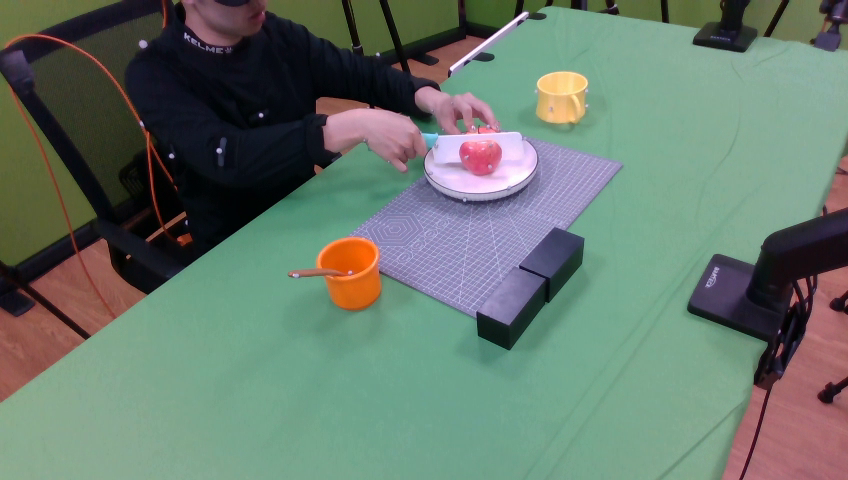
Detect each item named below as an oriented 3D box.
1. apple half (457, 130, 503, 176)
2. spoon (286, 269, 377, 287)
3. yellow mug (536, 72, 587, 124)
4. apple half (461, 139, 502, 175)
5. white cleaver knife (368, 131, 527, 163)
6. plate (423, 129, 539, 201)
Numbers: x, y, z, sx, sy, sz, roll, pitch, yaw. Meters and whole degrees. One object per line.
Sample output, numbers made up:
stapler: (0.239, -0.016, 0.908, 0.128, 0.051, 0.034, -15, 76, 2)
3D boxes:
apple half: (0.101, -0.159, 1.082, 0.081, 0.075, 0.053, -16, 23, 7)
spoon: (-0.125, 0.049, 0.831, 0.041, 0.195, 0.021, 22, 92, 28)
yellow mug: (0.284, -0.281, 1.222, 0.100, 0.064, 0.130, -16, 42, -9)
apple half: (0.099, -0.138, 1.060, 0.081, 0.081, 0.032, 2, 48, 11)
white cleaver knife: (0.037, -0.161, 1.069, 0.286, 0.066, 0.021, 2, 42, 12)
plate: (0.102, -0.132, 1.092, 0.209, 0.038, 0.208, -4, 40, 4)
